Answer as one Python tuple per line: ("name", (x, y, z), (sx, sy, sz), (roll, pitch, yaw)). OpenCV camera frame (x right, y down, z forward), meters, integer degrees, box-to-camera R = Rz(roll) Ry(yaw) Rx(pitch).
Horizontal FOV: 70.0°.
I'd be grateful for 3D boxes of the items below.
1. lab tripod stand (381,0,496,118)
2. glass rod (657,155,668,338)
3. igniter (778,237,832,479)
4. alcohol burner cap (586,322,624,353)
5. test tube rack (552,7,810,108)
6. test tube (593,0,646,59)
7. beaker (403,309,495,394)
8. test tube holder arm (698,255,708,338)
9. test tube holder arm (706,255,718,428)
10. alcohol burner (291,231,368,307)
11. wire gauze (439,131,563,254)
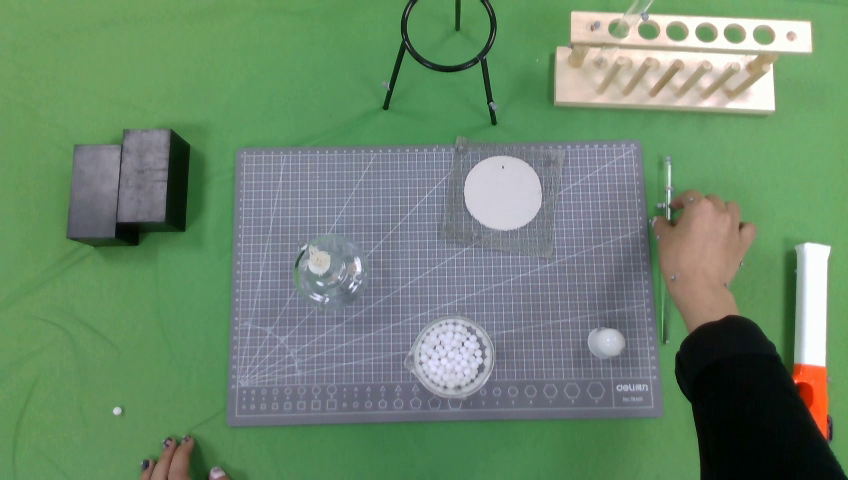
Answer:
("lab tripod stand", (0.019, -0.191, 0.624), (0.148, 0.132, 0.148), (0, 82, 1))
("glass rod", (0.258, 0.006, 0.654), (0.008, 0.008, 0.199), (4, 84, 1))
("igniter", (0.392, 0.134, 0.623), (0.057, 0.025, 0.275), (8, 81, -8))
("alcohol burner cap", (0.188, 0.099, 0.620), (0.034, 0.048, 0.033), (0, 81, 0))
("test tube rack", (0.266, -0.192, 0.647), (0.242, 0.085, 0.066), (2, 80, 1))
("test tube", (0.197, -0.218, 0.601), (0.017, 0.150, 0.017), (0, 81, -2))
("beaker", (0.024, 0.109, 0.590), (0.084, 0.100, 0.073), (-9, 80, 0))
("test tube holder arm", (0.297, 0.060, 0.641), (0.010, 0.015, 0.087), (-2, 80, 36))
("test tube holder arm", (0.299, 0.104, 0.631), (0.013, 0.015, 0.178), (-4, 79, 35))
("alcohol burner", (-0.097, 0.026, 0.597), (0.078, 0.119, 0.077), (0, 79, 3))
("wire gauze", (0.085, -0.054, 0.663), (0.125, 0.011, 0.121), (10, 82, 1))
